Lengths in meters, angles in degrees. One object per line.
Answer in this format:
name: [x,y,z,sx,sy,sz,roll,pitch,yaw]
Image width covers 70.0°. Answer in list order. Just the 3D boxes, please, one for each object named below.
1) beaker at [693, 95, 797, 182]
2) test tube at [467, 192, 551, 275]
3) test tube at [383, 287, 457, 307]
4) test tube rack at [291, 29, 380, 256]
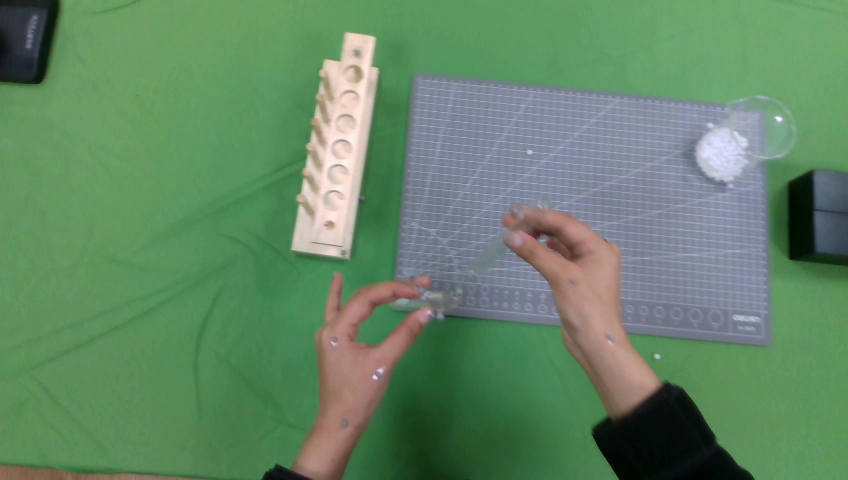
beaker: [0.367,-0.117,0.711,0.084,0.100,0.074,42,79,7]
test tube: [0.072,-0.002,0.537,0.017,0.151,0.017,8,63,-16]
test tube: [-0.008,0.049,0.524,0.017,0.150,0.017,2,85,-21]
test tube rack: [-0.104,-0.111,0.694,0.067,0.085,0.241,9,79,-1]
